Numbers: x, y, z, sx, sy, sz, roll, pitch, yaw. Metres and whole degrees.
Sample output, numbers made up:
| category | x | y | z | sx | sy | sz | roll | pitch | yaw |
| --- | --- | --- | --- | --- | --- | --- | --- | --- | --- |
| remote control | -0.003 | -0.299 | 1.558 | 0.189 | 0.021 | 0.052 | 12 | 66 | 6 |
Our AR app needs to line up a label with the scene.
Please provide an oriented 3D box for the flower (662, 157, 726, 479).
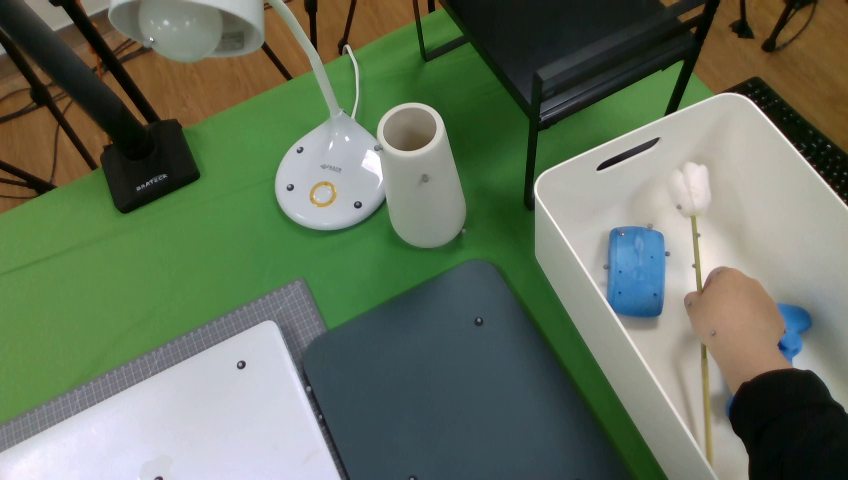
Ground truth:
| category | x | y | z | sx | sy | sz | roll | pitch | yaw |
| --- | --- | --- | --- | --- | --- | --- | --- | --- | --- |
| flower | 0.294 | 0.080 | 0.641 | 0.044 | 0.038 | 0.359 | -9 | 69 | 26 |

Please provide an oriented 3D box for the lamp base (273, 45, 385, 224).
| category | x | y | z | sx | sy | sz | roll | pitch | yaw |
| --- | --- | --- | --- | --- | --- | --- | --- | --- | --- |
| lamp base | -0.132 | -0.138 | 0.757 | 0.160 | 0.182 | 0.178 | 4 | 62 | 8 |

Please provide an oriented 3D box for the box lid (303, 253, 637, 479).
| category | x | y | z | sx | sy | sz | roll | pitch | yaw |
| --- | --- | --- | --- | --- | --- | --- | --- | --- | --- |
| box lid | 0.044 | 0.205 | 0.665 | 0.263 | 0.015 | 0.368 | -27 | 65 | -8 |

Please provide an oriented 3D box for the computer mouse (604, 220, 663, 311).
| category | x | y | z | sx | sy | sz | roll | pitch | yaw |
| --- | --- | --- | --- | --- | --- | --- | --- | --- | --- |
| computer mouse | 0.246 | 0.026 | 0.709 | 0.062 | 0.041 | 0.116 | 7 | 61 | 13 |

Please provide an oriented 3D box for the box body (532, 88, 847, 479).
| category | x | y | z | sx | sy | sz | roll | pitch | yaw |
| --- | --- | --- | --- | --- | --- | --- | --- | --- | --- |
| box body | 0.299 | 0.058 | 0.625 | 0.254 | 0.162 | 0.360 | -25 | 64 | -6 |

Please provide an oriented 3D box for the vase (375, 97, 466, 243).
| category | x | y | z | sx | sy | sz | roll | pitch | yaw |
| --- | --- | --- | --- | --- | --- | --- | --- | --- | --- |
| vase | -0.005 | -0.076 | 0.703 | 0.098 | 0.202 | 0.097 | -3 | 63 | 7 |

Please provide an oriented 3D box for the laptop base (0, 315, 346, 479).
| category | x | y | z | sx | sy | sz | roll | pitch | yaw |
| --- | --- | --- | --- | --- | --- | --- | --- | --- | --- |
| laptop base | -0.283 | 0.258 | 0.670 | 0.354 | 0.023 | 0.233 | -27 | 68 | -7 |

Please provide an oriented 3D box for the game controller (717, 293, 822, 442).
| category | x | y | z | sx | sy | sz | roll | pitch | yaw |
| --- | --- | --- | --- | --- | --- | --- | --- | --- | --- |
| game controller | 0.369 | 0.128 | 0.643 | 0.097 | 0.052 | 0.154 | 5 | 64 | 9 |

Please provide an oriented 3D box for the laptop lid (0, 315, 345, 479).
| category | x | y | z | sx | sy | sz | roll | pitch | yaw |
| --- | --- | --- | --- | --- | --- | --- | --- | --- | --- |
| laptop lid | -0.284 | 0.256 | 0.659 | 0.357 | 0.013 | 0.239 | -25 | 66 | -6 |

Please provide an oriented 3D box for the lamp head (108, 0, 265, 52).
| category | x | y | z | sx | sy | sz | roll | pitch | yaw |
| --- | --- | --- | --- | --- | --- | --- | --- | --- | --- |
| lamp head | -0.177 | -0.218 | 0.467 | 0.112 | 0.113 | 0.122 | 0 | 82 | 7 |
